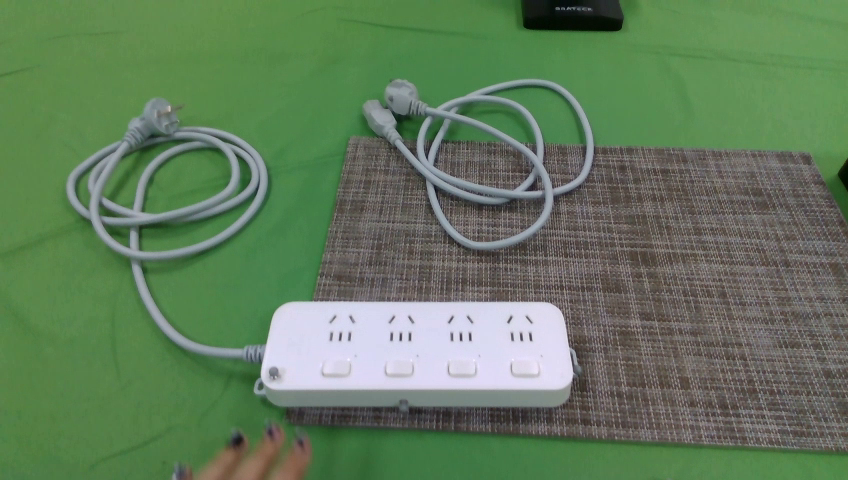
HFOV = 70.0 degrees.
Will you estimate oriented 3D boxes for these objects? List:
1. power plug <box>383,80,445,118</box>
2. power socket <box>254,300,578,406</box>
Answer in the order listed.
[{"bbox_3d":[-0.009,-0.137,0.624,0.072,0.035,0.052,32,31,5],"label":"power plug"},{"bbox_3d":[-0.005,0.079,0.426,0.227,0.033,0.071,0,48,1],"label":"power socket"}]
